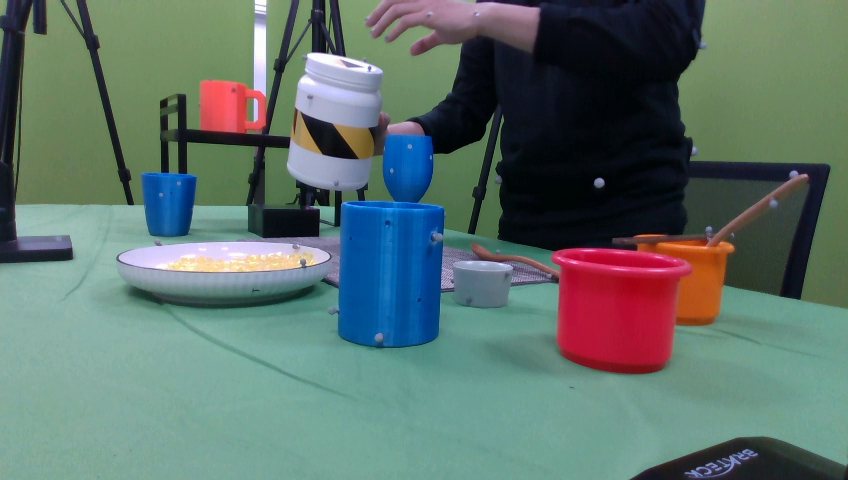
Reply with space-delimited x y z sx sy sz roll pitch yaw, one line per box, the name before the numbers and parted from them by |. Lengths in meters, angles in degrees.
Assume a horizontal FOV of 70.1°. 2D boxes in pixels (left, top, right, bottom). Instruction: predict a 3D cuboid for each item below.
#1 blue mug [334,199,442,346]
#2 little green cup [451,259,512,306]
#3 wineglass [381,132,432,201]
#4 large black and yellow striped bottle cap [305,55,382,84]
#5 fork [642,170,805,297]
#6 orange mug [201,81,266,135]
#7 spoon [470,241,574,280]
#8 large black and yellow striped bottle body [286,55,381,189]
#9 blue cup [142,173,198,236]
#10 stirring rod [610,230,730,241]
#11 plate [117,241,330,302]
blue mug | -0.034 0.020 0.498 0.083 0.106 0.116 0 7 -20
little green cup | 0.057 0.043 0.612 0.061 0.038 0.061 3 7 0
wineglass | -0.026 -0.062 0.841 0.074 0.172 0.073 2 8 0
large black and yellow striped bottle cap | -0.121 -0.259 0.915 0.115 0.019 0.115 10 22 -4
fork | 0.261 0.003 0.545 0.028 0.018 0.207 5 -37 -16
orange mug | -0.377 -0.260 1.198 0.126 0.101 0.083 -3 8 -6
spoon | 0.124 0.025 0.800 0.042 0.021 0.192 23 -6 -34
large black and yellow striped bottle body | -0.140 -0.185 0.948 0.131 0.184 0.130 12 22 -5
blue cup | -0.425 -0.060 1.014 0.093 0.100 0.092 4 9 0
stirring rod | 0.241 -0.005 0.582 0.177 0.006 0.014 -3 10 -34
plate | -0.203 0.031 0.630 0.209 0.038 0.209 3 7 0
